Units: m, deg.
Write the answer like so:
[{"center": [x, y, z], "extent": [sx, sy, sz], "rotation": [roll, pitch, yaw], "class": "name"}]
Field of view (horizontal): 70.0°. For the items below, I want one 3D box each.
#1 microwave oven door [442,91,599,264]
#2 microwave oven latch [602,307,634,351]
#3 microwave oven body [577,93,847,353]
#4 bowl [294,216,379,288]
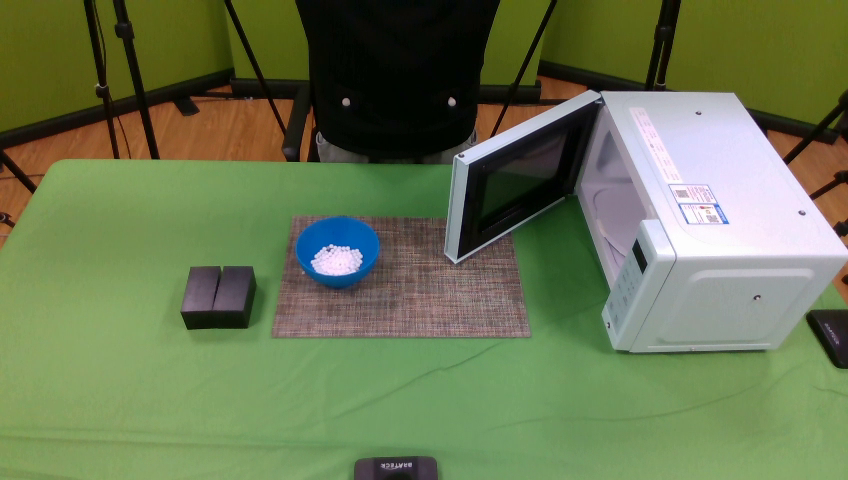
[{"center": [0.188, -0.123, 1.160], "extent": [0.356, 0.245, 0.039], "rotation": [-29, 54, -28], "class": "microwave oven door"}, {"center": [0.332, 0.153, 1.044], "extent": [0.030, 0.029, 0.078], "rotation": [-1, 45, -4], "class": "microwave oven latch"}, {"center": [0.475, -0.041, 1.109], "extent": [0.326, 0.261, 0.438], "rotation": [-1, 45, -4], "class": "microwave oven body"}, {"center": [-0.158, 0.036, 1.110], "extent": [0.151, 0.077, 0.150], "rotation": [3, 45, -2], "class": "bowl"}]
